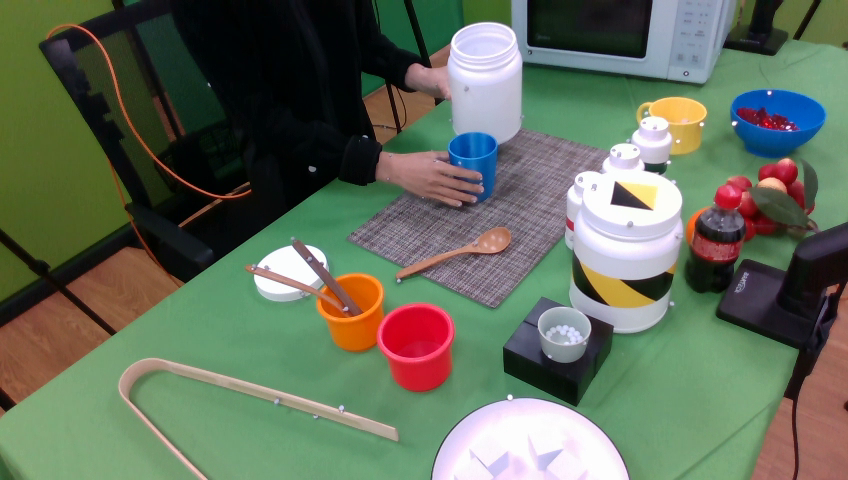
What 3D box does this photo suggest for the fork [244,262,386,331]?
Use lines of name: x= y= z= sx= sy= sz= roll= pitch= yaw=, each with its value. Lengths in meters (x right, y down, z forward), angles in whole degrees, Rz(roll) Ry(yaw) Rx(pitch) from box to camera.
fork: x=-0.141 y=0.076 z=0.807 sx=0.209 sy=0.018 sz=0.028 roll=30 pitch=51 yaw=-24

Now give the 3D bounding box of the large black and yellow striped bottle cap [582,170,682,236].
large black and yellow striped bottle cap: x=0.252 y=-0.048 z=0.735 sx=0.115 sy=0.019 sz=0.114 roll=-3 pitch=40 yaw=3

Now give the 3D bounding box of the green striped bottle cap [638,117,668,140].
green striped bottle cap: x=0.369 y=-0.180 z=0.974 sx=0.044 sy=0.020 sz=0.044 roll=-4 pitch=41 yaw=4

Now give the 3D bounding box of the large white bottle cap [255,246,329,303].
large white bottle cap: x=-0.208 y=0.052 z=0.952 sx=0.115 sy=0.018 sz=0.114 roll=-4 pitch=41 yaw=4

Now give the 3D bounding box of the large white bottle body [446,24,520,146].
large white bottle body: x=0.106 y=-0.273 z=1.079 sx=0.130 sy=0.185 sz=0.130 roll=-4 pitch=48 yaw=5

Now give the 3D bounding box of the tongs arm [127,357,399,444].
tongs arm: x=-0.213 y=0.205 z=0.755 sx=0.382 sy=0.026 sz=0.051 roll=12 pitch=45 yaw=23

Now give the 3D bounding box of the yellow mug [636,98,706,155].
yellow mug: x=0.453 y=-0.217 z=1.128 sx=0.100 sy=0.064 sz=0.129 roll=-34 pitch=46 yaw=-27

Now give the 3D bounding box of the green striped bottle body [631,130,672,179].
green striped bottle body: x=0.375 y=-0.140 z=1.007 sx=0.063 sy=0.120 sz=0.063 roll=-5 pitch=40 yaw=4

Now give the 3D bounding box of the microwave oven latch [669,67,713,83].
microwave oven latch: x=0.556 y=-0.349 z=1.261 sx=0.078 sy=0.029 sz=0.030 roll=16 pitch=46 yaw=27

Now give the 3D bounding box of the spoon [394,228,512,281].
spoon: x=0.045 y=0.024 z=0.935 sx=0.194 sy=0.022 sz=0.041 roll=-18 pitch=66 yaw=-11

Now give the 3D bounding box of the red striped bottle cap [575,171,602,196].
red striped bottle cap: x=0.242 y=-0.081 z=0.876 sx=0.044 sy=0.018 sz=0.044 roll=-5 pitch=44 yaw=5

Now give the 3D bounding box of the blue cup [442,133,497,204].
blue cup: x=0.085 y=-0.118 z=1.039 sx=0.092 sy=0.100 sz=0.092 roll=-4 pitch=38 yaw=4

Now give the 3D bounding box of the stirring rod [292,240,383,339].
stirring rod: x=-0.118 y=0.068 z=0.825 sx=0.176 sy=0.006 sz=0.014 roll=48 pitch=59 yaw=-3

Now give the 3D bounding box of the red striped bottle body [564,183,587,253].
red striped bottle body: x=0.246 y=-0.041 z=0.910 sx=0.063 sy=0.120 sz=0.062 roll=-2 pitch=38 yaw=2

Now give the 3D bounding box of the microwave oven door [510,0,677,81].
microwave oven door: x=0.354 y=-0.478 z=1.290 sx=0.353 sy=0.245 sz=0.039 roll=15 pitch=45 yaw=25

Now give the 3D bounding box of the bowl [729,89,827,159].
bowl: x=0.615 y=-0.197 z=1.069 sx=0.151 sy=0.077 sz=0.150 roll=-5 pitch=40 yaw=5

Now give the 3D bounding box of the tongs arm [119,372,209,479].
tongs arm: x=-0.258 y=0.257 z=0.700 sx=0.384 sy=0.028 sz=0.028 roll=24 pitch=55 yaw=34

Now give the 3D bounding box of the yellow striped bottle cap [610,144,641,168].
yellow striped bottle cap: x=0.307 y=-0.128 z=0.923 sx=0.044 sy=0.019 sz=0.044 roll=-6 pitch=39 yaw=5

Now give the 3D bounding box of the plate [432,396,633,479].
plate: x=0.112 y=0.261 z=0.634 sx=0.209 sy=0.038 sz=0.208 roll=-5 pitch=40 yaw=4

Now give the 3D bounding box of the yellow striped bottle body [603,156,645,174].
yellow striped bottle body: x=0.313 y=-0.089 z=0.956 sx=0.063 sy=0.121 sz=0.062 roll=-4 pitch=39 yaw=4

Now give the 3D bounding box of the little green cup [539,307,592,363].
little green cup: x=0.168 y=0.115 z=0.721 sx=0.061 sy=0.039 sz=0.061 roll=-4 pitch=42 yaw=4

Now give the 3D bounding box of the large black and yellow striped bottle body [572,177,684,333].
large black and yellow striped bottle body: x=0.262 y=0.017 z=0.788 sx=0.131 sy=0.185 sz=0.130 roll=-5 pitch=40 yaw=4

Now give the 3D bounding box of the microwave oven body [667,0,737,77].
microwave oven body: x=0.462 y=-0.552 z=1.368 sx=0.439 sy=0.261 sz=0.326 roll=14 pitch=45 yaw=26
